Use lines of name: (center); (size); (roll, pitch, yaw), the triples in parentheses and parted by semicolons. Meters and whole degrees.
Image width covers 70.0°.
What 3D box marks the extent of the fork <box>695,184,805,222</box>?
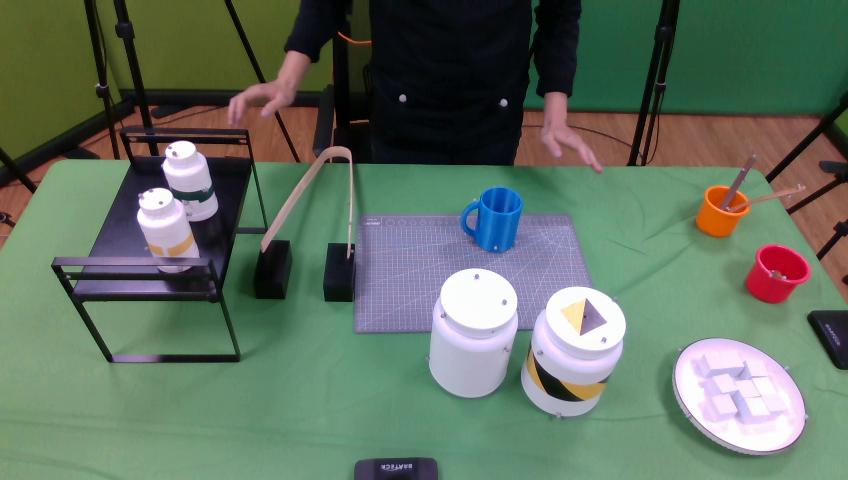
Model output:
fork: (0.657, -0.075, 1.230); (0.207, 0.019, 0.028); (-23, 34, 37)

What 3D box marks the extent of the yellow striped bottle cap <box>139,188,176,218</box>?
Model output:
yellow striped bottle cap: (-0.364, -0.051, 0.826); (0.044, 0.019, 0.044); (1, 47, -1)

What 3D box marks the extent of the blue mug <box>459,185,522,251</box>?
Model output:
blue mug: (0.127, -0.042, 1.185); (0.116, 0.106, 0.082); (0, 47, -4)

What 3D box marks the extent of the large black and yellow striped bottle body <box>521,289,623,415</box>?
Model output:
large black and yellow striped bottle body: (0.228, 0.173, 0.938); (0.131, 0.185, 0.130); (2, 47, -2)

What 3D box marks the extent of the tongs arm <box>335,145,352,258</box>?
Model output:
tongs arm: (-0.170, -0.092, 1.234); (0.051, 0.026, 0.382); (-1, 37, -3)

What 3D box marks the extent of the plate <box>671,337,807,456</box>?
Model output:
plate: (0.503, 0.254, 0.984); (0.208, 0.039, 0.206); (2, 46, -2)

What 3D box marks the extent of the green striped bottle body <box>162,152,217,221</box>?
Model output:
green striped bottle body: (-0.363, -0.092, 0.939); (0.063, 0.120, 0.063); (2, 46, -2)

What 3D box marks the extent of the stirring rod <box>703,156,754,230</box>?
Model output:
stirring rod: (0.631, -0.098, 1.258); (0.014, 0.006, 0.176); (33, 95, 29)

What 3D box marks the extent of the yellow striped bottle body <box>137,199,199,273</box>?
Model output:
yellow striped bottle body: (-0.366, -0.014, 0.864); (0.063, 0.121, 0.062); (2, 46, -2)

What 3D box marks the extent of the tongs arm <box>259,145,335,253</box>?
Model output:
tongs arm: (-0.252, -0.097, 1.233); (0.028, 0.028, 0.385); (5, 37, 10)

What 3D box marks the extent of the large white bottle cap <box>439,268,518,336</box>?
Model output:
large white bottle cap: (0.080, 0.089, 0.888); (0.115, 0.018, 0.114); (2, 47, -2)

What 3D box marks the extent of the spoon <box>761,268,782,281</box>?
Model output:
spoon: (0.638, 0.060, 1.105); (0.041, 0.021, 0.194); (38, 11, 24)

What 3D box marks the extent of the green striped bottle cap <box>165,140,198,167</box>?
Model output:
green striped bottle cap: (-0.361, -0.128, 0.902); (0.044, 0.020, 0.044); (3, 47, -3)

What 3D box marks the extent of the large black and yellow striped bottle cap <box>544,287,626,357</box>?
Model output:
large black and yellow striped bottle cap: (0.232, 0.116, 0.876); (0.115, 0.019, 0.114); (2, 46, -1)

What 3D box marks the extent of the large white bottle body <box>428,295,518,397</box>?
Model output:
large white bottle body: (0.076, 0.147, 0.950); (0.131, 0.185, 0.130); (2, 46, -2)
